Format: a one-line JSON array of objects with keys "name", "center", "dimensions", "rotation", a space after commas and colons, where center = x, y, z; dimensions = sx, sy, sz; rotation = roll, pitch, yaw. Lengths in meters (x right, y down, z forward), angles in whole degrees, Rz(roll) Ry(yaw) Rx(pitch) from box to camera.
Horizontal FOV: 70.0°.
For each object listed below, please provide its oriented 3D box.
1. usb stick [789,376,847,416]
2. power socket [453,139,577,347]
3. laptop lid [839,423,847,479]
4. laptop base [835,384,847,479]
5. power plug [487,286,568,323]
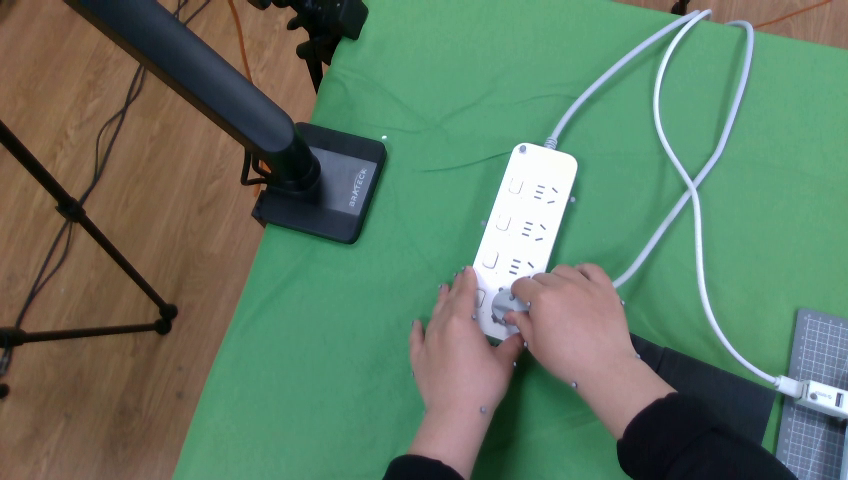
[{"name": "usb stick", "center": [0.369, 0.144, 0.551], "dimensions": [0.059, 0.027, 0.021], "rotation": [20, 73, 5]}, {"name": "power socket", "center": [0.094, -0.002, 0.618], "dimensions": [0.072, 0.033, 0.226], "rotation": [19, 75, 9]}, {"name": "laptop lid", "center": [0.529, 0.268, 0.504], "dimensions": [0.356, 0.013, 0.241], "rotation": [17, 78, 9]}, {"name": "laptop base", "center": [0.530, 0.269, 0.516], "dimensions": [0.353, 0.023, 0.234], "rotation": [16, 78, 8]}, {"name": "power plug", "center": [0.094, 0.071, 0.576], "dimensions": [0.072, 0.053, 0.035], "rotation": [33, 75, 12]}]
